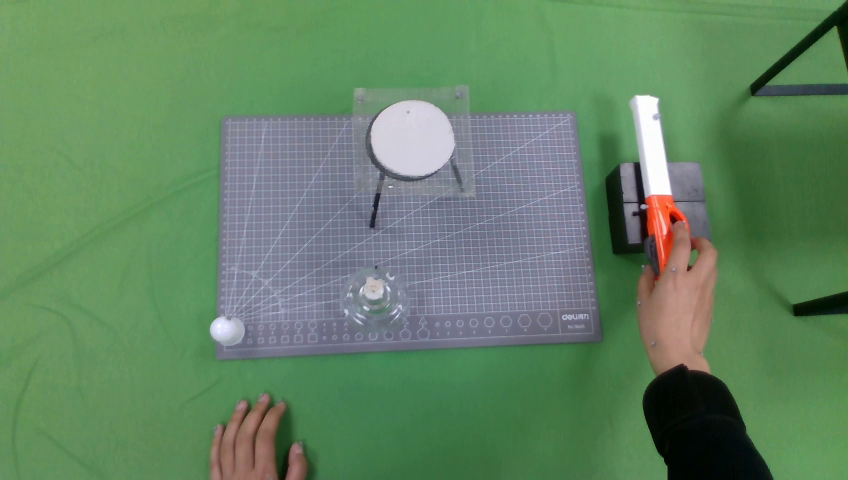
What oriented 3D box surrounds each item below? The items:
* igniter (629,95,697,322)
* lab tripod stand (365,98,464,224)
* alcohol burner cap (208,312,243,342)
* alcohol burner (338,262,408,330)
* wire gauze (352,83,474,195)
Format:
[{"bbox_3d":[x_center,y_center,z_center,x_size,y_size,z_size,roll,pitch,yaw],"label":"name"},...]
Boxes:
[{"bbox_3d":[0.276,-0.041,0.708,0.057,0.025,0.275,0,75,-14],"label":"igniter"},{"bbox_3d":[-0.022,-0.094,0.687,0.148,0.132,0.147,1,76,-2],"label":"lab tripod stand"},{"bbox_3d":[-0.223,0.095,0.674,0.034,0.048,0.033,1,74,-5],"label":"alcohol burner cap"},{"bbox_3d":[-0.056,0.059,0.659,0.078,0.119,0.077,1,77,-2],"label":"alcohol burner"},{"bbox_3d":[-0.011,-0.106,0.622,0.125,0.011,0.121,1,76,-4],"label":"wire gauze"}]
